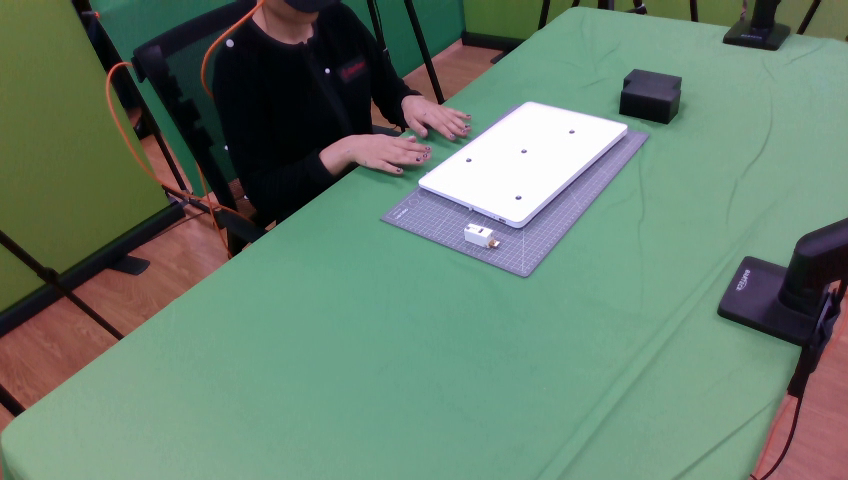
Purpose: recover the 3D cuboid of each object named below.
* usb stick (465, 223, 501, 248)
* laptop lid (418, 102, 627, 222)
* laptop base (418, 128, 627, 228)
[{"bbox_3d":[0.095,-0.005,0.962,0.059,0.027,0.021,23,49,29],"label":"usb stick"},{"bbox_3d":[0.185,-0.161,1.121,0.239,0.013,0.358,26,51,37],"label":"laptop lid"},{"bbox_3d":[0.189,-0.151,1.127,0.233,0.023,0.355,24,50,37],"label":"laptop base"}]
